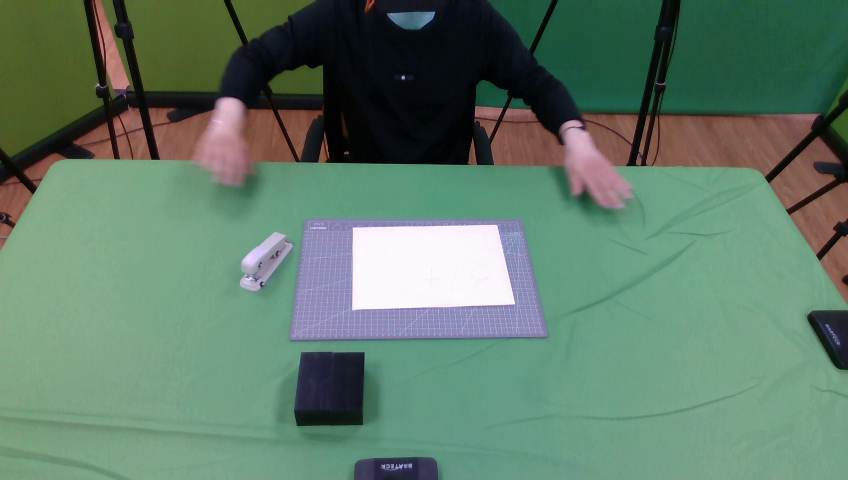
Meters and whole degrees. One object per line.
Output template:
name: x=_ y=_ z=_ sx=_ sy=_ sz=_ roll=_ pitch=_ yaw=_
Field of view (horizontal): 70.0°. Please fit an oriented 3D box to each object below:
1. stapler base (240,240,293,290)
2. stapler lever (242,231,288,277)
stapler base: x=-0.296 y=0.038 z=1.135 sx=0.041 sy=0.024 sz=0.130 roll=20 pitch=47 yaw=10
stapler lever: x=-0.294 y=0.020 z=1.118 sx=0.027 sy=0.040 sz=0.117 roll=20 pitch=46 yaw=11
